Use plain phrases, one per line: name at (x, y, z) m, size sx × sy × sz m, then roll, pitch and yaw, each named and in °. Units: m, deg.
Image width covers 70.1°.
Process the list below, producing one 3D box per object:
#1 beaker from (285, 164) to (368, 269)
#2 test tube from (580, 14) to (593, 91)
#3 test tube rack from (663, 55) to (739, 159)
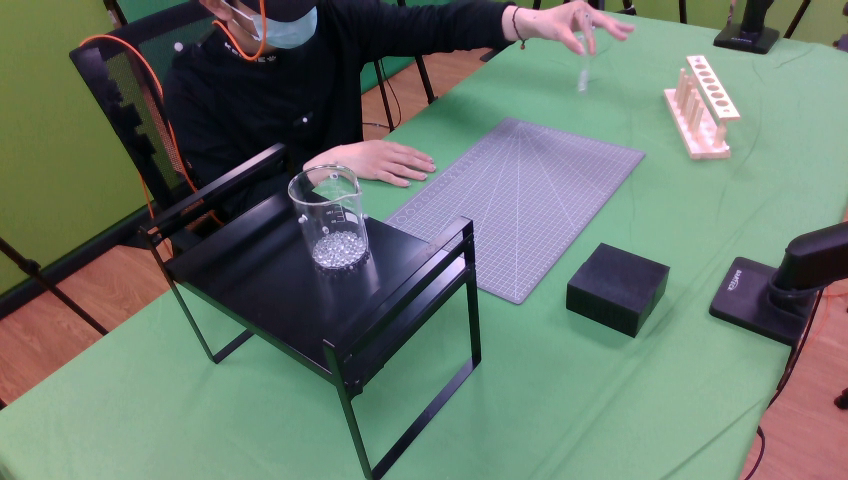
beaker at (-0.101, -0.024, 0.676) m, size 0.083 × 0.101 × 0.074 m, roll 8°, pitch 44°, yaw 17°
test tube at (0.283, -0.323, 1.055) m, size 0.017 × 0.151 × 0.017 m, roll -6°, pitch 50°, yaw 7°
test tube rack at (0.518, -0.256, 1.144) m, size 0.066 × 0.085 × 0.241 m, roll -1°, pitch 41°, yaw 8°
